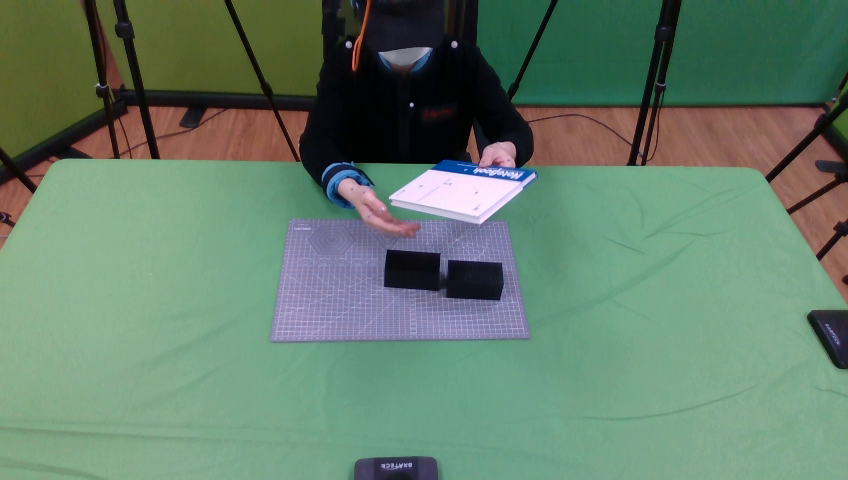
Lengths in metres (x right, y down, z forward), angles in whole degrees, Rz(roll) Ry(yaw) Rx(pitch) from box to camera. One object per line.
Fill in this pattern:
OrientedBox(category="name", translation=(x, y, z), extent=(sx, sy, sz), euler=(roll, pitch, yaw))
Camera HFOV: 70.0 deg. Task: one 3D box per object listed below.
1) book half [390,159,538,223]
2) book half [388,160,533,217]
OrientedBox(category="book half", translation=(0.059, -0.085, 0.993), extent=(0.209, 0.016, 0.148), euler=(15, 44, 45))
OrientedBox(category="book half", translation=(0.055, -0.089, 0.989), extent=(0.143, 0.007, 0.209), euler=(-37, 34, -31))
